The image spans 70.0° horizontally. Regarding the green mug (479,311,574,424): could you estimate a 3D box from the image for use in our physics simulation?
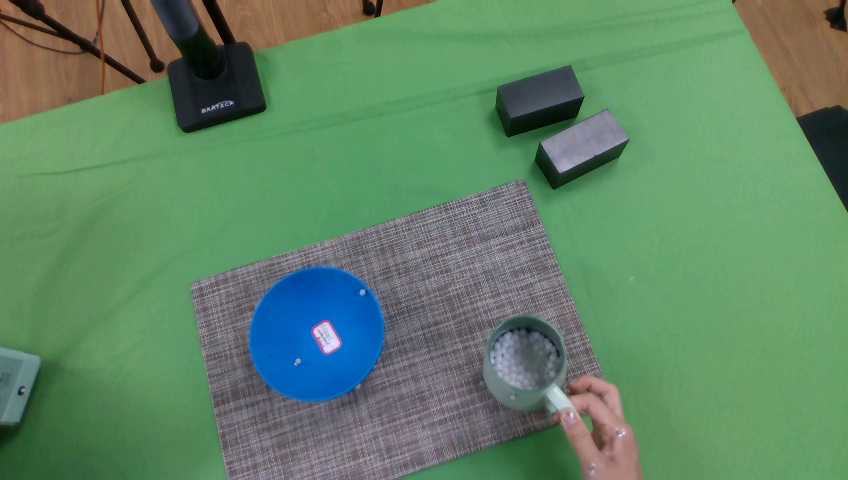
[{"bbox_3d":[0.114,0.139,0.642,0.092,0.106,0.124,-36,69,-8],"label":"green mug"}]

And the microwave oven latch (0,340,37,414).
[{"bbox_3d":[-0.482,0.160,0.705,0.030,0.029,0.079,12,74,5],"label":"microwave oven latch"}]

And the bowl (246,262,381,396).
[{"bbox_3d":[-0.120,0.108,0.701,0.151,0.077,0.150,-1,72,2],"label":"bowl"}]

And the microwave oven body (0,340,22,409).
[{"bbox_3d":[-0.665,0.271,0.576,0.326,0.261,0.439,10,74,5],"label":"microwave oven body"}]
